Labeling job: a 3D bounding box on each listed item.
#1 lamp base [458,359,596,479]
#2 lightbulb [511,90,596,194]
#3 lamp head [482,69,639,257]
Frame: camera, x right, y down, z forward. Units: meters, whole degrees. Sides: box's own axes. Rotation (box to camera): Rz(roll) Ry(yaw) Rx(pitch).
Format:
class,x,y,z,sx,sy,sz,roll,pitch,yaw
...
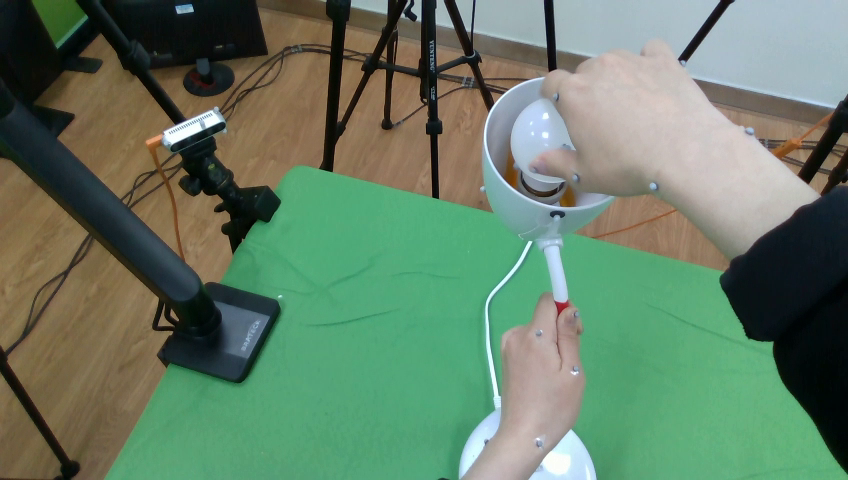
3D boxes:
class,x,y,z,sx,sy,sz,roll,pitch,yaw
lamp base,0.116,0.214,0.649,0.161,0.182,0.177,-20,57,-15
lightbulb,0.092,-0.067,0.453,0.059,0.108,0.059,0,67,0
lamp head,0.097,-0.050,0.477,0.112,0.124,0.111,1,62,-1
